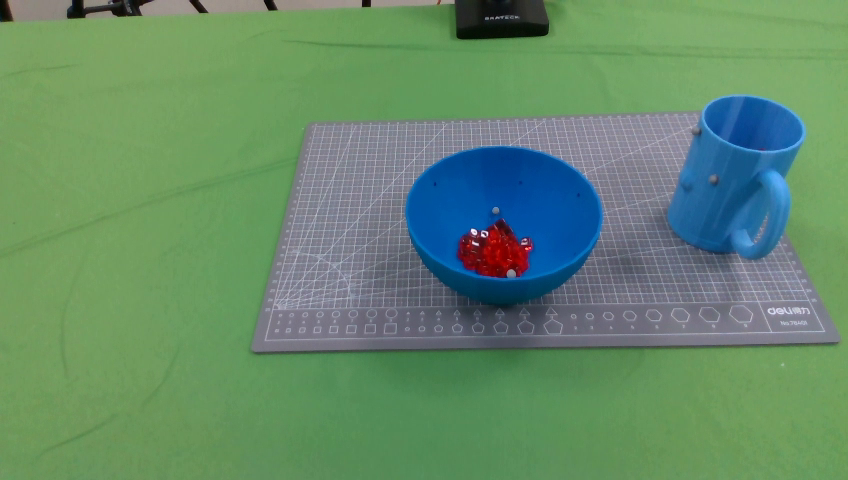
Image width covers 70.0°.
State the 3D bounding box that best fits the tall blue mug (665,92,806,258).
[{"bbox_3d":[0.261,-0.046,0.495,0.078,0.109,0.106,-26,51,-20],"label":"tall blue mug"}]

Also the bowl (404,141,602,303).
[{"bbox_3d":[0.061,-0.003,0.487,0.151,0.077,0.150,-1,47,2],"label":"bowl"}]
